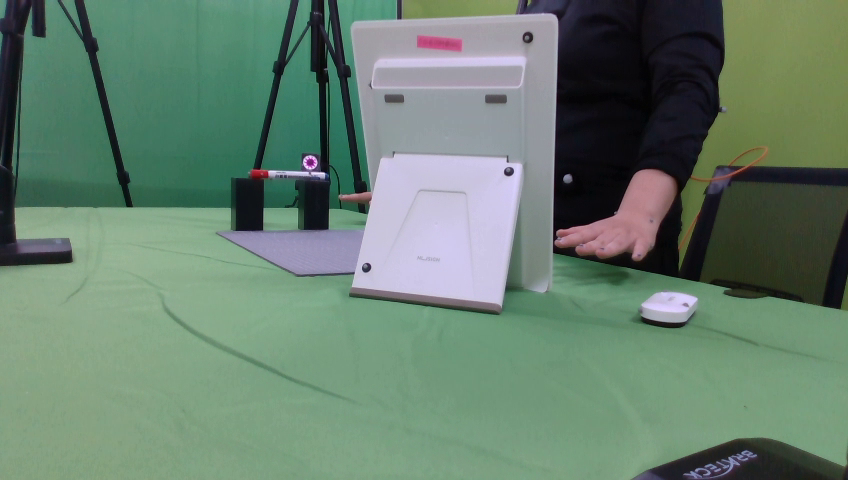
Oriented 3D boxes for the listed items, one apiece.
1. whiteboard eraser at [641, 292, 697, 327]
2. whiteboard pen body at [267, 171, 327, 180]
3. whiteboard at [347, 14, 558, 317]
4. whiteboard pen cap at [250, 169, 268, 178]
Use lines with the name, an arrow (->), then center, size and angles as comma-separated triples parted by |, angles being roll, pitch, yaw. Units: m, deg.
whiteboard eraser -> 0.240, 0.066, 0.590 | 0.041, 0.019, 0.102 | 6, 7, 31
whiteboard pen body -> -0.260, -0.126, 1.181 | 0.141, 0.017, 0.017 | -2, 8, -26
whiteboard -> 0.012, -0.056, 0.609 | 0.216, 0.305, 0.144 | 5, 27, 20
whiteboard pen cap -> -0.315, -0.127, 1.155 | 0.032, 0.017, 0.017 | 0, 7, -24
